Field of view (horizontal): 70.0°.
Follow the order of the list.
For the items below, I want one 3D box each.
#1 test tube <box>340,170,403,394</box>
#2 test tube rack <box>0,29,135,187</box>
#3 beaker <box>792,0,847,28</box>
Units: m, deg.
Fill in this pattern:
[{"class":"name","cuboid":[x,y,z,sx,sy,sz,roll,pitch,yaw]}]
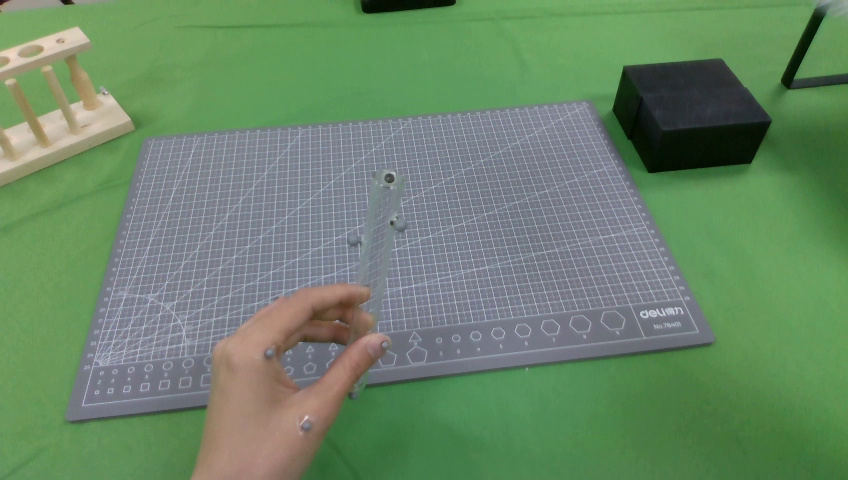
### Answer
[{"class":"test tube","cuboid":[-0.030,0.030,0.323,0.017,0.151,0.017,9,35,-6]},{"class":"test tube rack","cuboid":[-0.404,-0.098,0.542,0.242,0.086,0.066,-32,55,-25]},{"class":"beaker","cuboid":[0.219,-0.162,0.290,0.084,0.101,0.073,-23,45,1]}]
